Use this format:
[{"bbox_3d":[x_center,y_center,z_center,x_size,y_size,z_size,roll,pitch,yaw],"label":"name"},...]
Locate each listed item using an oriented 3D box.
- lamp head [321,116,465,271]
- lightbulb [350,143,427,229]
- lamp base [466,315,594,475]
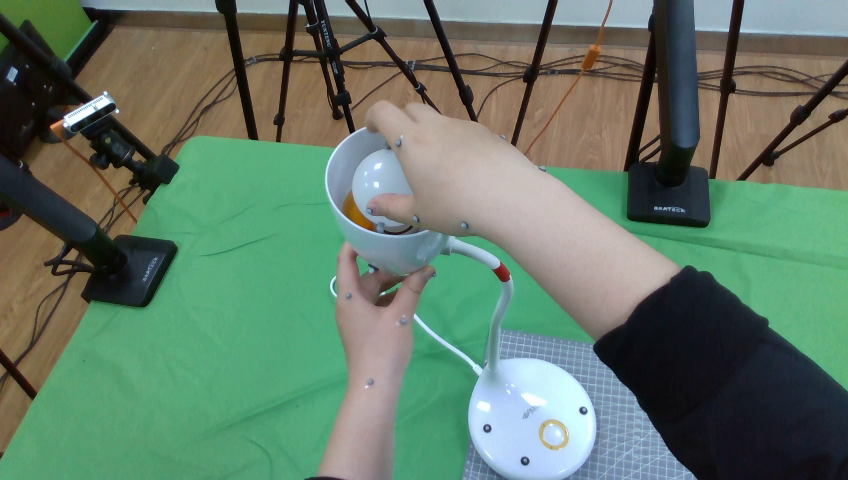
[{"bbox_3d":[-0.020,-0.025,0.511,0.112,0.124,0.111,-2,59,4],"label":"lamp head"},{"bbox_3d":[-0.026,-0.036,0.487,0.059,0.108,0.059,0,68,1],"label":"lightbulb"},{"bbox_3d":[0.116,0.168,0.714,0.177,0.182,0.160,31,64,28],"label":"lamp base"}]
